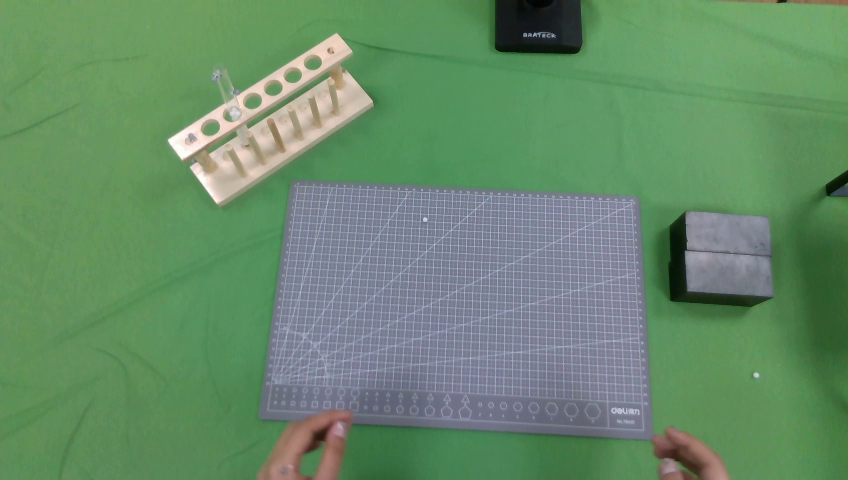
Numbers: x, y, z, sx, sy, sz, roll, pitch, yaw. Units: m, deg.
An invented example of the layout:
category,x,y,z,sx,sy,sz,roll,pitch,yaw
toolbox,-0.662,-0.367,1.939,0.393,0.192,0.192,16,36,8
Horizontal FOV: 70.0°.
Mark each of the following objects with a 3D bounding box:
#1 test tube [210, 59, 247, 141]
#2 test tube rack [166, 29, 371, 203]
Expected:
category,x,y,z,sx,sy,sz,roll,pitch,yaw
test tube,-0.226,-0.160,0.711,0.017,0.151,0.017,2,68,-5
test tube rack,-0.187,-0.155,0.762,0.242,0.085,0.066,-37,75,-11
